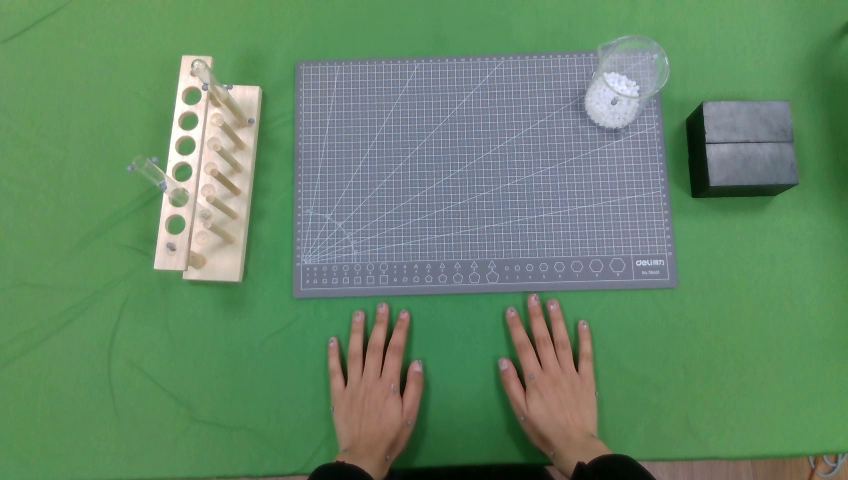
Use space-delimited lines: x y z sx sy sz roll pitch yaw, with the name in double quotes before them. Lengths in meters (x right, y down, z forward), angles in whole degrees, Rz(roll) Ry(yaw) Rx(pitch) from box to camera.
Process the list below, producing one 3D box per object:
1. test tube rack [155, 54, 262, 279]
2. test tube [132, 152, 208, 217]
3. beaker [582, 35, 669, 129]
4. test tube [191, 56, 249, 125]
"test tube rack" -0.244 -0.081 0.699 0.067 0.085 0.241 3 80 2
"test tube" -0.265 -0.054 0.645 0.017 0.151 0.017 -1 73 4
"beaker" 0.224 -0.178 0.697 0.083 0.100 0.074 35 82 9
"test tube" -0.222 -0.161 0.667 0.017 0.151 0.017 0 79 1
